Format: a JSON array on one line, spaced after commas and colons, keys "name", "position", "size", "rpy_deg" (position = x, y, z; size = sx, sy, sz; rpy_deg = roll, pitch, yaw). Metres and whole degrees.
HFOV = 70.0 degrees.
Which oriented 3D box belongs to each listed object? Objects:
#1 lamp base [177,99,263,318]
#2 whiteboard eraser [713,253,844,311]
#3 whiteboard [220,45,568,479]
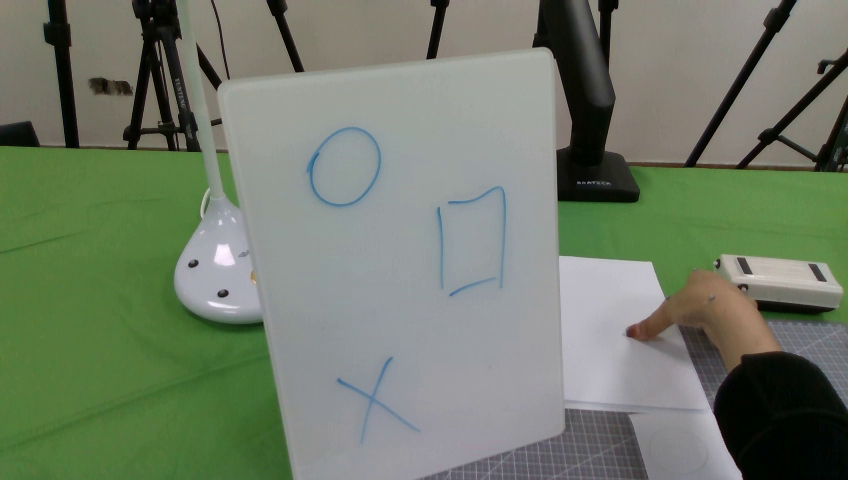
[{"name": "lamp base", "position": [-0.187, -0.040, 0.608], "size": [0.177, 0.182, 0.161], "rpy_deg": [28, 44, 35]}, {"name": "whiteboard eraser", "position": [0.367, 0.044, 0.633], "size": [0.112, 0.042, 0.055], "rpy_deg": [6, 37, 6]}, {"name": "whiteboard", "position": [-0.019, 0.017, 0.480], "size": [0.218, 0.307, 0.142], "rpy_deg": [-11, 19, -15]}]
